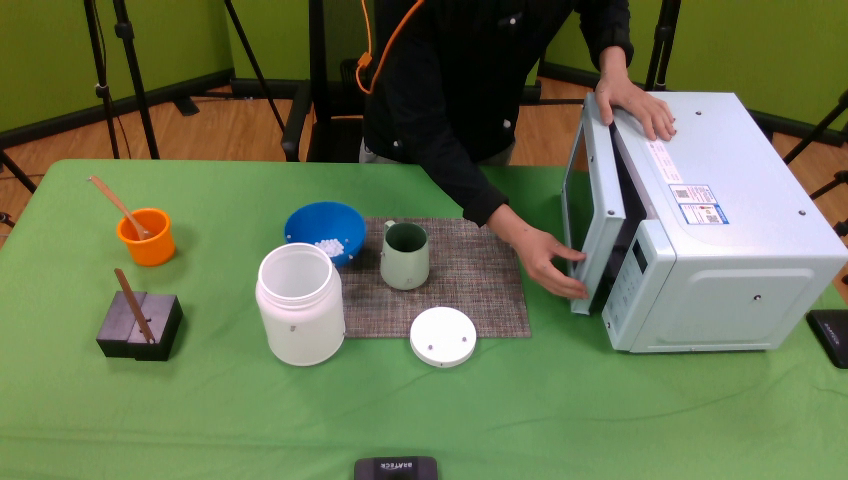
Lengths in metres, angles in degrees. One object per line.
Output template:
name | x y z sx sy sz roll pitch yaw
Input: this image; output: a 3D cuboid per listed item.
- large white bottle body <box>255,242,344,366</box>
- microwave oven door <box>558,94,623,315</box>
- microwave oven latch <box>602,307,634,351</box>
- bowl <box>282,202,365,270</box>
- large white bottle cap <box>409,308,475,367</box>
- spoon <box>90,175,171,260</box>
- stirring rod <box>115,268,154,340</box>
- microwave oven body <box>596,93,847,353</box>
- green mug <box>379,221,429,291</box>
large white bottle body | -0.196 0.102 0.967 0.131 0.185 0.130 2 49 -2
microwave oven door | 0.302 -0.075 1.123 0.039 0.245 0.353 6 46 1
microwave oven latch | 0.332 0.153 1.044 0.030 0.029 0.078 0 45 -4
bowl | -0.186 0.006 1.137 0.151 0.077 0.150 3 46 -3
large white bottle cap | 0.031 0.166 1.041 0.115 0.018 0.114 2 47 -2
spoon | -0.539 -0.042 1.111 0.021 0.194 0.041 -13 27 53
stirring rod | -0.479 0.103 0.999 0.014 0.006 0.175 8 32 -49
microwave oven body | 0.475 -0.042 1.109 0.326 0.261 0.438 -1 45 -4
green mug | -0.044 0.020 1.116 0.092 0.105 0.124 -20 50 -22
